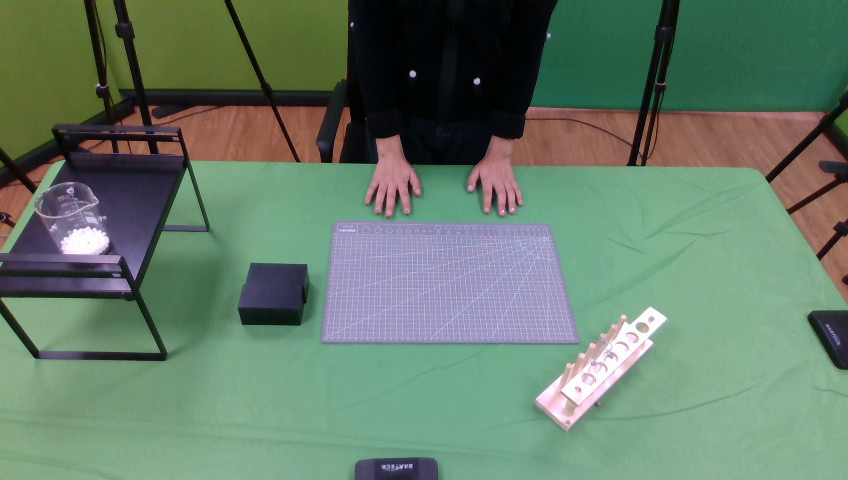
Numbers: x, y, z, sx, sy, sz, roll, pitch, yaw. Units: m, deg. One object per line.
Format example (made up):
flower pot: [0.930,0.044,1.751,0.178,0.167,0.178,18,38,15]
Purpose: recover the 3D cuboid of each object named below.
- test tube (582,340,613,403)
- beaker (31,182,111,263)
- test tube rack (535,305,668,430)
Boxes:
test tube: [0.252,0.200,0.907,0.017,0.151,0.017,5,43,-4]
beaker: [-0.502,-0.022,0.877,0.084,0.101,0.073,-2,47,-7]
test tube rack: [0.290,0.193,0.984,0.242,0.085,0.066,-32,57,-30]
